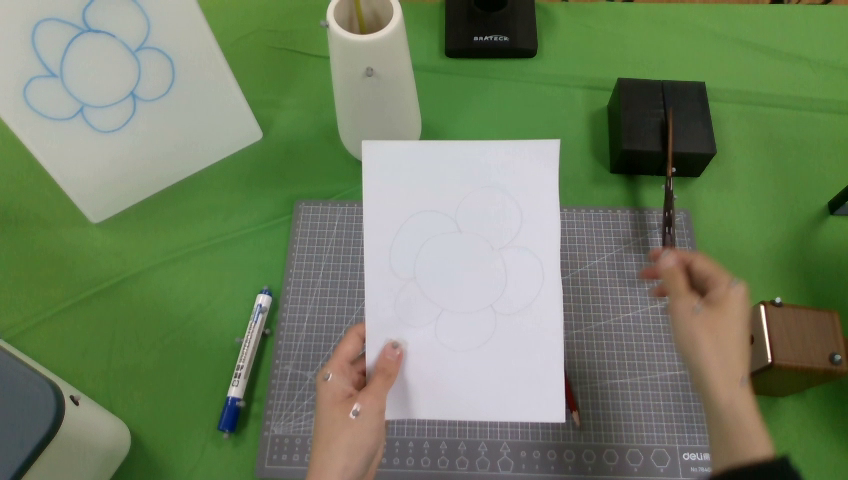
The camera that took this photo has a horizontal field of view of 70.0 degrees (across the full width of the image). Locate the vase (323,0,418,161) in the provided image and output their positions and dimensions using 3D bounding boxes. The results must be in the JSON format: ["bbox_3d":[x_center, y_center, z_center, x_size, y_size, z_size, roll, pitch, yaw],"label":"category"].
[{"bbox_3d":[-0.057,-0.171,0.646,0.098,0.201,0.097,-1,64,2],"label":"vase"}]

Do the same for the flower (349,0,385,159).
[{"bbox_3d":[-0.065,-0.219,0.576,0.044,0.365,0.038,-5,47,2],"label":"flower"}]

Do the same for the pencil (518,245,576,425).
[{"bbox_3d":[0.127,0.093,0.624,0.012,0.012,0.192,-11,67,-4],"label":"pencil"}]

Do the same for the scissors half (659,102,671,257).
[{"bbox_3d":[0.265,-0.067,0.662,0.012,0.040,0.175,0,84,26],"label":"scissors half"}]

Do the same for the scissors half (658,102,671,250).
[{"bbox_3d":[0.257,-0.073,0.644,0.013,0.040,0.174,1,67,21],"label":"scissors half"}]

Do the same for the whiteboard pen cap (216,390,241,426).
[{"bbox_3d":[-0.189,0.163,0.588,0.018,0.018,0.033,8,60,5],"label":"whiteboard pen cap"}]

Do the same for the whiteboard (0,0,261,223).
[{"bbox_3d":[-0.350,-0.212,0.642,0.217,0.309,0.142,-31,49,-12],"label":"whiteboard"}]

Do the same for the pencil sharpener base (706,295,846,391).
[{"bbox_3d":[0.325,0.099,0.567,0.077,0.108,0.061,5,65,0],"label":"pencil sharpener base"}]

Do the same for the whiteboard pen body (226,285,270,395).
[{"bbox_3d":[-0.181,0.111,0.614,0.017,0.017,0.139,7,64,4],"label":"whiteboard pen body"}]

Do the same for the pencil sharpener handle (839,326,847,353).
[{"bbox_3d":[0.376,0.100,0.556,0.030,0.068,0.035,5,58,0],"label":"pencil sharpener handle"}]

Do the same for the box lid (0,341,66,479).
[{"bbox_3d":[-0.482,0.137,0.443,0.370,0.015,0.262,26,68,12],"label":"box lid"}]

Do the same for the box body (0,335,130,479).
[{"bbox_3d":[-0.479,0.170,0.510,0.362,0.161,0.253,26,68,12],"label":"box body"}]
